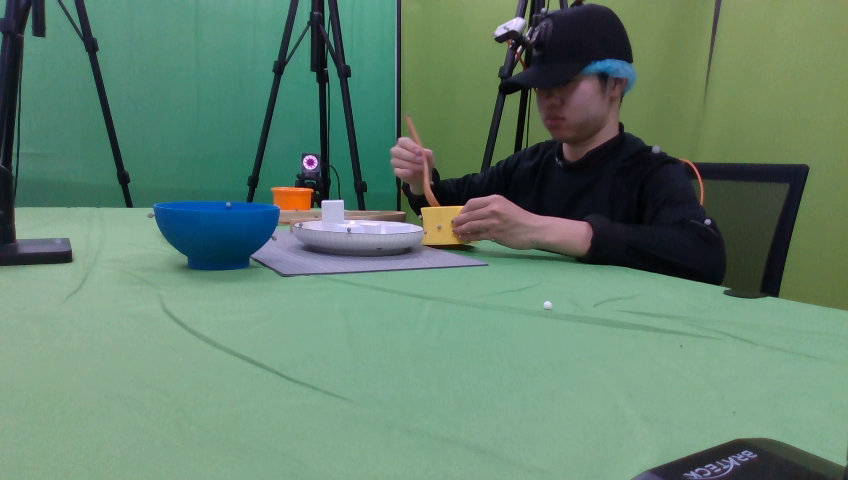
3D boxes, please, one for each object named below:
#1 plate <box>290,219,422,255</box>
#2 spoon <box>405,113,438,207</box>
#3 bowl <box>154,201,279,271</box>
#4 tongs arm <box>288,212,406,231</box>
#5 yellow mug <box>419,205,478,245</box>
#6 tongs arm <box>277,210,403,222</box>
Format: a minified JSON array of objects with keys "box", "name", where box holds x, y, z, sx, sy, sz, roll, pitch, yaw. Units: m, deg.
[{"box":[-0.108,-0.005,0.963,0.208,0.039,0.207,3,7,0],"name":"plate"},{"box":[-0.003,-0.138,1.071,0.021,0.193,0.041,-13,-14,1],"name":"spoon"},{"box":[-0.263,-0.005,0.773,0.151,0.077,0.151,3,8,0],"name":"bowl"},{"box":[-0.146,-0.041,1.279,0.028,0.028,0.389,2,5,33],"name":"tongs arm"},{"box":[0.051,-0.026,1.041,0.100,0.064,0.130,-4,3,-30],"name":"yellow mug"},{"box":[-0.206,-0.052,1.332,0.387,0.026,0.050,-2,8,-44],"name":"tongs arm"}]
